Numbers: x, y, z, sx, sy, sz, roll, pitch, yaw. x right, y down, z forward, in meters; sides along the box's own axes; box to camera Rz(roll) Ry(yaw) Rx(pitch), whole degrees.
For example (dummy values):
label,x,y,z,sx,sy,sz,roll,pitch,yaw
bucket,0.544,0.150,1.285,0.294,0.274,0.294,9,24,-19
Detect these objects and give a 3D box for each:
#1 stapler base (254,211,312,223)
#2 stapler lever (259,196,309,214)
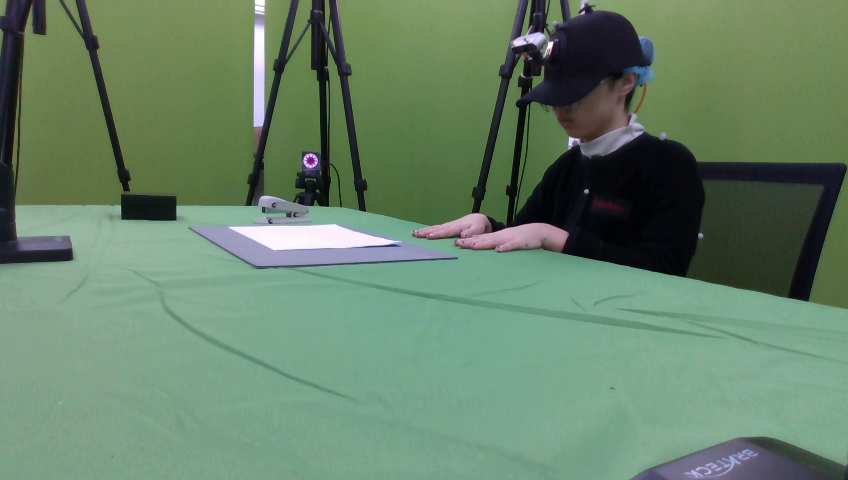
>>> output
label,x,y,z,sx,sy,sz,roll,pitch,yaw
stapler base,-0.302,-0.052,1.301,0.041,0.024,0.131,11,10,38
stapler lever,-0.301,-0.076,1.300,0.026,0.040,0.119,11,11,38
